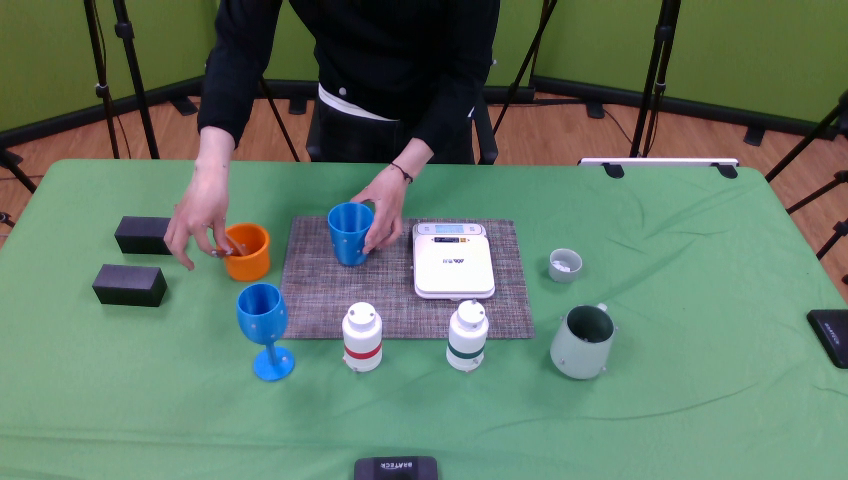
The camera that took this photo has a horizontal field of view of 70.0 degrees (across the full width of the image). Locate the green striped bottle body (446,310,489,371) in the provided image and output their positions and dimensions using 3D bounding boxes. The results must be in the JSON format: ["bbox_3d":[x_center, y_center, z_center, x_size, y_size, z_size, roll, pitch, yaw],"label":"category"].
[{"bbox_3d":[0.070,0.155,0.984,0.063,0.120,0.063,2,46,-2],"label":"green striped bottle body"}]

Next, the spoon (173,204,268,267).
[{"bbox_3d":[-0.362,-0.009,1.089,0.021,0.195,0.041,-38,30,17],"label":"spoon"}]

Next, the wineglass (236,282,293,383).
[{"bbox_3d":[-0.243,0.143,0.934,0.074,0.173,0.073,2,46,-2],"label":"wineglass"}]

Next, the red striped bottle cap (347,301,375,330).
[{"bbox_3d":[-0.097,0.116,0.934,0.044,0.018,0.044,3,49,-3],"label":"red striped bottle cap"}]

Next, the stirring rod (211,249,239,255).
[{"bbox_3d":[-0.342,0.021,1.060,0.014,0.176,0.006,29,87,-2],"label":"stirring rod"}]

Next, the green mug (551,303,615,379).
[{"bbox_3d":[0.271,0.157,1.007,0.092,0.105,0.125,27,50,21],"label":"green mug"}]

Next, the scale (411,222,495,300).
[{"bbox_3d":[0.052,0.031,1.158,0.149,0.032,0.199,1,46,-4],"label":"scale"}]

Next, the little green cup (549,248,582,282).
[{"bbox_3d":[0.268,0.050,1.156,0.061,0.039,0.061,1,46,-1],"label":"little green cup"}]

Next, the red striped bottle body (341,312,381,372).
[{"bbox_3d":[-0.100,0.154,0.972,0.063,0.120,0.062,2,46,-2],"label":"red striped bottle body"}]

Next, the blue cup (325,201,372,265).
[{"bbox_3d":[-0.138,-0.007,1.131,0.093,0.101,0.092,1,45,-1],"label":"blue cup"}]

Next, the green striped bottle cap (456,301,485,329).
[{"bbox_3d":[0.073,0.116,0.943,0.044,0.020,0.044,3,46,-3],"label":"green striped bottle cap"}]
